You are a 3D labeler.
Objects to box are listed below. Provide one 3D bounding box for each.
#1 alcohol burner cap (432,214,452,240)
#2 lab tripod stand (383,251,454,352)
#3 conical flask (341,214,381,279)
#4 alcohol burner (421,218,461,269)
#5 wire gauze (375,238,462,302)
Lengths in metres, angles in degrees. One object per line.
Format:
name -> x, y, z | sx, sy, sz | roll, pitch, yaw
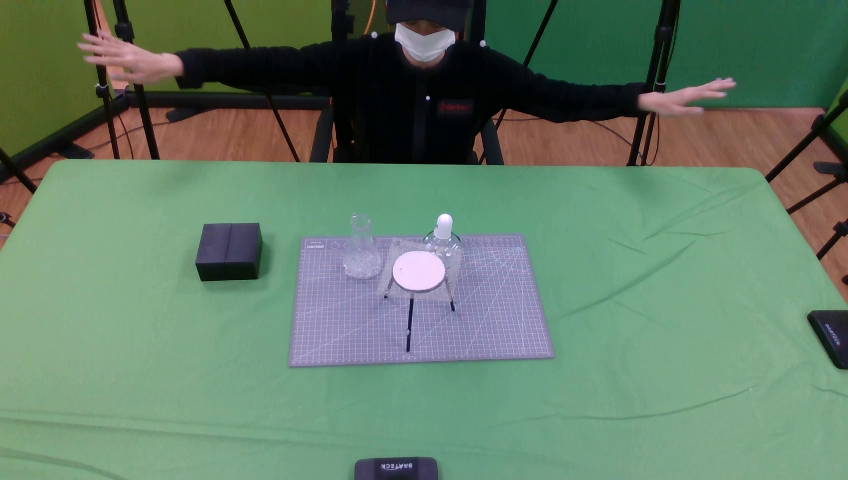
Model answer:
alcohol burner cap -> 0.035, -0.027, 1.110 | 0.034, 0.048, 0.033 | 7, 42, -6
lab tripod stand -> -0.015, 0.094, 1.025 | 0.148, 0.132, 0.147 | 1, 46, -1
conical flask -> -0.116, 0.009, 1.107 | 0.075, 0.122, 0.075 | 2, 46, -2
alcohol burner -> 0.033, -0.001, 1.135 | 0.078, 0.119, 0.077 | 3, 48, -3
wire gauze -> -0.006, 0.048, 0.977 | 0.121, 0.011, 0.124 | 9, 45, 5
